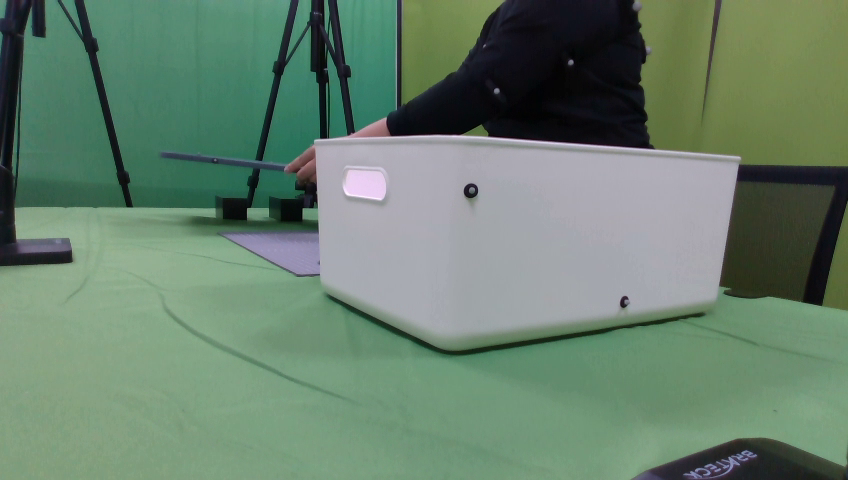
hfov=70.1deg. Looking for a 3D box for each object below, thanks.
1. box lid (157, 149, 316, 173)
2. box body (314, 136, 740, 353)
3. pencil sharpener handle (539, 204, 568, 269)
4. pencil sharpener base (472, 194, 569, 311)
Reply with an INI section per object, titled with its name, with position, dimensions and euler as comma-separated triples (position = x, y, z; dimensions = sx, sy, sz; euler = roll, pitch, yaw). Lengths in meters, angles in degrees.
[box lid]
position = -0.346, -0.157, 1.239
dimensions = 0.373, 0.015, 0.262
euler = 4, 6, -26
[box body]
position = 0.098, -0.012, 0.605
dimensions = 0.366, 0.160, 0.253
euler = -2, 8, -33
[pencil sharpener handle]
position = 0.138, -0.003, 0.621
dimensions = 0.031, 0.067, 0.036
euler = -1, 15, -33
[pencil sharpener base]
position = 0.095, 0.010, 0.592
dimensions = 0.077, 0.107, 0.061
euler = -1, 7, -33
